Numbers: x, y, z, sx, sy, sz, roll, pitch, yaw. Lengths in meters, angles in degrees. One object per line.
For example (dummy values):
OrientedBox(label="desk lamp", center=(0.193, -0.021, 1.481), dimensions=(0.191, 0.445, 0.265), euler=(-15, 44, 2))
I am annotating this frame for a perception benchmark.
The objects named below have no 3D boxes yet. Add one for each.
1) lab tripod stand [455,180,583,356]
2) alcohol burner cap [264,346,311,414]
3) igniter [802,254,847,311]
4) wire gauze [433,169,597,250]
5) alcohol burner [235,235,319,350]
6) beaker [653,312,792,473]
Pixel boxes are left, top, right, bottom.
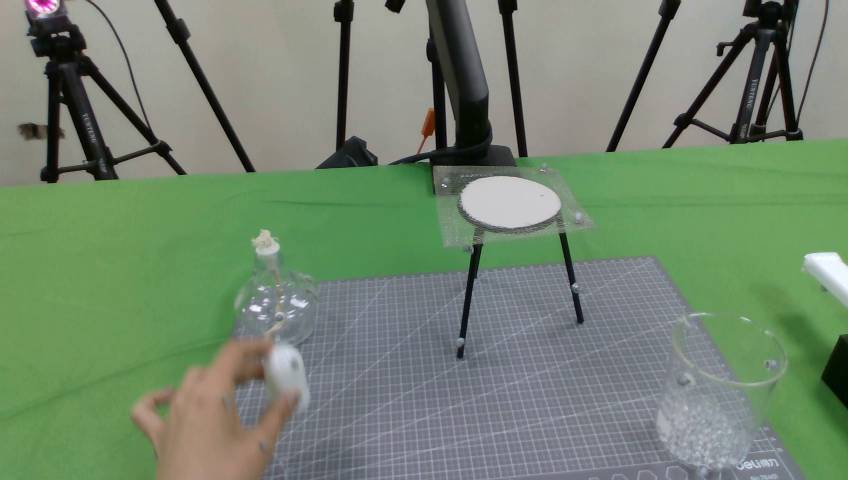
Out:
OrientedBox(label="lab tripod stand", center=(0.079, 0.021, 0.559), dimensions=(0.148, 0.132, 0.147), euler=(0, 33, 1))
OrientedBox(label="alcohol burner cap", center=(-0.102, 0.100, 0.445), dimensions=(0.034, 0.048, 0.033), euler=(1, 28, 0))
OrientedBox(label="igniter", center=(0.377, 0.090, 0.456), dimensions=(0.057, 0.025, 0.274), euler=(-4, 30, 0))
OrientedBox(label="wire gauze", center=(0.071, -0.033, 0.518), dimensions=(0.121, 0.011, 0.124), euler=(-3, 34, -3))
OrientedBox(label="alcohol burner", center=(-0.137, 0.044, 0.557), dimensions=(0.078, 0.120, 0.077), euler=(-1, 36, 1))
OrientedBox(label="beaker", center=(0.210, 0.113, 0.445), dimensions=(0.074, 0.101, 0.083), euler=(-14, 35, -16))
